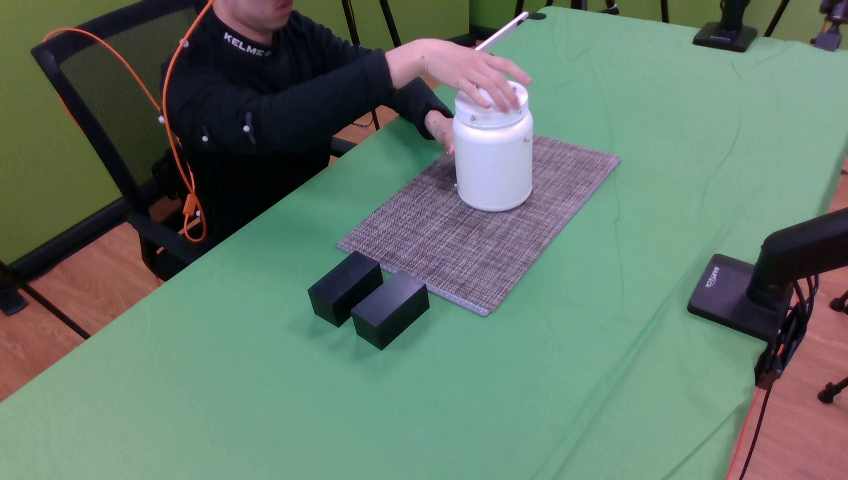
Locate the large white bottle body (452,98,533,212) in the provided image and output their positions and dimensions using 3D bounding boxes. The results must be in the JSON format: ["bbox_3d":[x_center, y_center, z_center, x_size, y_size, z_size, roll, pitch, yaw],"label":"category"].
[{"bbox_3d":[0.115,-0.154,1.000,0.130,0.185,0.130,-4,41,4],"label":"large white bottle body"}]

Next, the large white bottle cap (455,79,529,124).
[{"bbox_3d":[0.106,-0.218,0.945,0.115,0.018,0.114,-4,42,4],"label":"large white bottle cap"}]
